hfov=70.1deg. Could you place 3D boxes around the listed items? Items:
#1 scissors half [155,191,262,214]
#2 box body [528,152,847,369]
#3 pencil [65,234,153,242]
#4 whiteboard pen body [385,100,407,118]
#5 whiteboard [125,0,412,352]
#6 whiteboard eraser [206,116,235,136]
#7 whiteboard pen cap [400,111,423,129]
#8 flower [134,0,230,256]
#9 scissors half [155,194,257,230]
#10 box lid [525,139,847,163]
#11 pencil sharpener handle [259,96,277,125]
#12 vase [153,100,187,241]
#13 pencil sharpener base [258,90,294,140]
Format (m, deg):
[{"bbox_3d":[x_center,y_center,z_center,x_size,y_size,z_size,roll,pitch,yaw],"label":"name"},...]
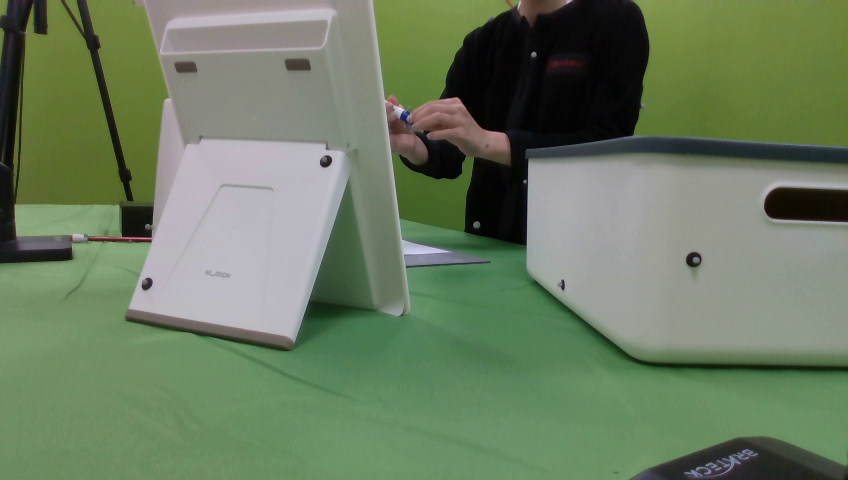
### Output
[{"bbox_3d":[-0.371,-0.069,1.051,0.176,0.040,0.013,2,25,-24],"label":"scissors half"},{"bbox_3d":[0.258,-0.005,0.591,0.254,0.160,0.363,2,7,-4],"label":"box body"},{"bbox_3d":[-0.429,-0.001,0.911,0.195,0.012,0.012,1,8,-20],"label":"pencil"},{"bbox_3d":[-0.070,-0.209,0.914,0.140,0.017,0.017,28,13,10],"label":"whiteboard pen body"},{"bbox_3d":[-0.151,-0.049,0.472,0.216,0.305,0.144,6,27,24],"label":"whiteboard"},{"bbox_3d":[-0.449,-0.251,1.335,0.056,0.042,0.112,1,7,-22],"label":"whiteboard eraser"},{"bbox_3d":[-0.019,-0.181,0.905,0.033,0.018,0.018,27,13,11],"label":"whiteboard pen cap"},{"bbox_3d":[-0.282,-0.146,0.713,0.038,0.362,0.044,-23,23,-30],"label":"flower"},{"bbox_3d":[-0.378,-0.051,1.058,0.176,0.040,0.012,20,22,-31],"label":"scissors half"},{"bbox_3d":[0.261,-0.078,0.580,0.264,0.015,0.371,2,7,-4],"label":"box lid"},{"bbox_3d":[-0.373,-0.304,1.425,0.036,0.067,0.030,13,-1,-37],"label":"pencil sharpener handle"},{"bbox_3d":[-0.278,-0.066,0.736,0.098,0.200,0.098,2,9,0],"label":"vase"},{"bbox_3d":[-0.341,-0.285,1.388,0.062,0.107,0.076,-3,9,-36],"label":"pencil sharpener base"}]
